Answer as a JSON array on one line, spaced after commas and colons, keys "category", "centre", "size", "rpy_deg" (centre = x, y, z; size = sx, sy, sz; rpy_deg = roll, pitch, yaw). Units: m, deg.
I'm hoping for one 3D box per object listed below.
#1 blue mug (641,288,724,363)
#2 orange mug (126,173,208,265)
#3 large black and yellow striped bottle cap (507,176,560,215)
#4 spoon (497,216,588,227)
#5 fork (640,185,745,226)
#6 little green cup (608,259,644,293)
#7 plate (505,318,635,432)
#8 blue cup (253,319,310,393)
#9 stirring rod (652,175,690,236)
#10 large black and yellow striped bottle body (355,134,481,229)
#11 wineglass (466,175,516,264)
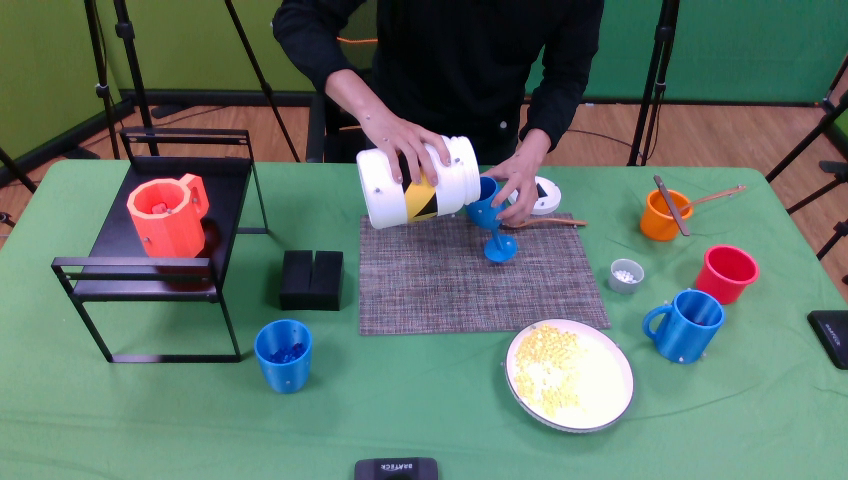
[{"category": "blue mug", "centre": [0.432, 0.144, 1.033], "size": [0.116, 0.106, 0.082], "rpy_deg": [8, 46, 5]}, {"category": "orange mug", "centre": [-0.371, -0.039, 0.902], "size": [0.083, 0.101, 0.126], "rpy_deg": [18, 51, 14]}, {"category": "large black and yellow striped bottle cap", "centre": [0.237, -0.098, 1.312], "size": [0.115, 0.019, 0.114], "rpy_deg": [2, 43, -2]}, {"category": "spoon", "centre": [0.245, -0.039, 1.247], "size": [0.194, 0.022, 0.041], "rpy_deg": [-1, 26, -6]}, {"category": "fork", "centre": [0.534, -0.069, 1.215], "size": [0.207, 0.019, 0.028], "rpy_deg": [-26, 27, 33]}, {"category": "little green cup", "centre": [0.379, 0.070, 1.147], "size": [0.061, 0.039, 0.061], "rpy_deg": [3, 45, -3]}, {"category": "plate", "centre": [0.235, 0.221, 0.991], "size": [0.209, 0.038, 0.208], "rpy_deg": [2, 45, -2]}, {"category": "blue cup", "centre": [-0.217, 0.187, 0.943], "size": [0.093, 0.101, 0.092], "rpy_deg": [3, 45, -3]}, {"category": "stirring rod", "centre": [0.492, -0.072, 1.211], "size": [0.014, 0.006, 0.175], "rpy_deg": [-1, 46, -6]}, {"category": "large black and yellow striped bottle body", "centre": [-0.010, -0.099, 0.991], "size": [0.184, 0.131, 0.130], "rpy_deg": [-13, 48, -7]}, {"category": "wineglass", "centre": [0.123, -0.037, 1.100], "size": [0.073, 0.173, 0.073], "rpy_deg": [-10, 50, 12]}]
